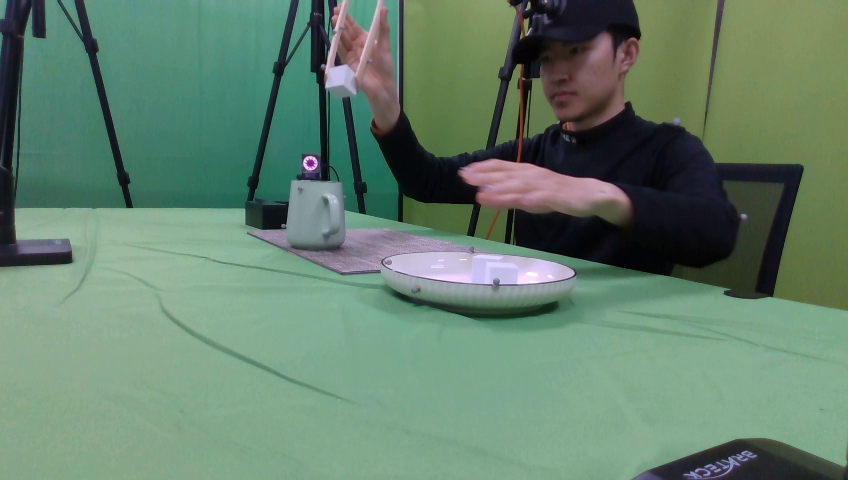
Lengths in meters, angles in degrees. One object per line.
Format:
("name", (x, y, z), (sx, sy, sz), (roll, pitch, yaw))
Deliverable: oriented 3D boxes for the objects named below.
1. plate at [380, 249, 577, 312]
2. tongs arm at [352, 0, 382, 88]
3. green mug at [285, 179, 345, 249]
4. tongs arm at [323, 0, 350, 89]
("plate", (0.056, 0.042, 0.646), (0.209, 0.038, 0.209), (2, 7, 0))
("tongs arm", (-0.093, -0.361, 0.996), (0.028, 0.028, 0.386), (-3, 45, 7))
("green mug", (-0.161, -0.040, 0.936), (0.093, 0.105, 0.124), (-2, 8, -32))
("tongs arm", (-0.121, -0.361, 0.997), (0.051, 0.026, 0.384), (-3, 45, 2))
